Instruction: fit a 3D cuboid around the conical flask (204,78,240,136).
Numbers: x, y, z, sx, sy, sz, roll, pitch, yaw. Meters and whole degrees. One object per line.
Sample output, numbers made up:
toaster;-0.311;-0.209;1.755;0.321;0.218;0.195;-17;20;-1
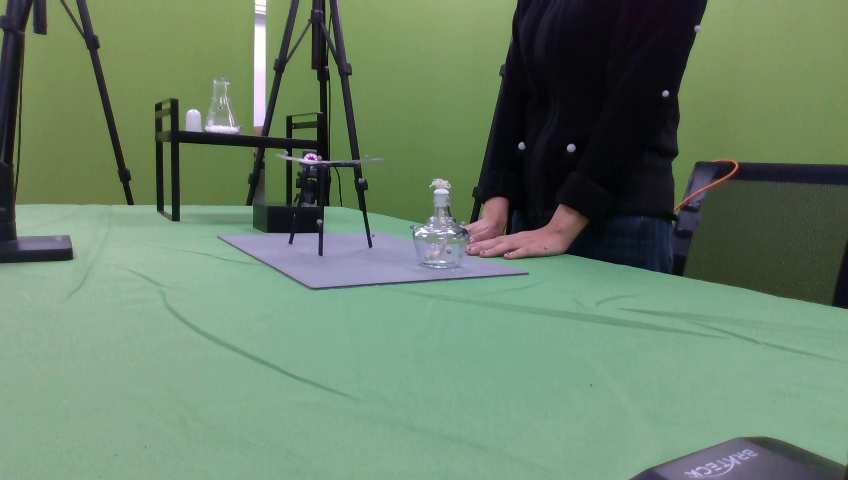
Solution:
conical flask;-0.443;-0.292;1.327;0.075;0.122;0.075;3;7;0

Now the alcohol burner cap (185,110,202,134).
alcohol burner cap;-0.470;-0.241;1.234;0.034;0.048;0.034;3;7;0

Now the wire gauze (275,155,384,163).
wire gauze;-0.142;-0.118;0.900;0.122;0.011;0.124;-3;8;-37

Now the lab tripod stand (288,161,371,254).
lab tripod stand;-0.148;-0.052;0.909;0.148;0.131;0.148;1;8;0

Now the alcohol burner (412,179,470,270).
alcohol burner;0.022;-0.021;0.805;0.078;0.119;0.078;0;8;0
